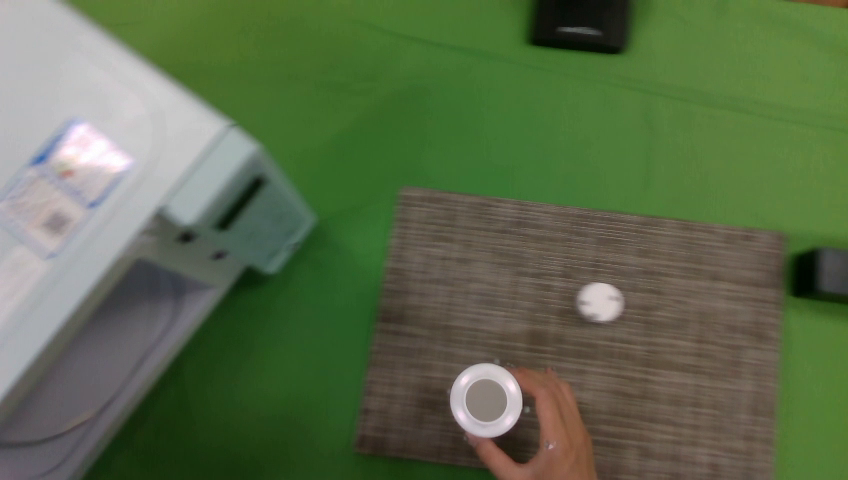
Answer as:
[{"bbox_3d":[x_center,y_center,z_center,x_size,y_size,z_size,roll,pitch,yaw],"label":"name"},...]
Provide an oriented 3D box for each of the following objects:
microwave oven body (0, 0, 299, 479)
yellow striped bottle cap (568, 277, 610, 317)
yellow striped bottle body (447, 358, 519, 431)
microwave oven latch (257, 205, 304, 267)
[{"bbox_3d":[-0.390,0.032,0.565,0.325,0.261,0.441,34,82,6],"label":"microwave oven body"},{"bbox_3d":[0.186,0.063,0.679,0.044,0.019,0.044,0,79,2],"label":"yellow striped bottle cap"},{"bbox_3d":[0.053,0.141,0.555,0.063,0.121,0.062,-1,76,4],"label":"yellow striped bottle body"},{"bbox_3d":[-0.166,-0.010,0.670,0.030,0.029,0.079,36,82,7],"label":"microwave oven latch"}]
